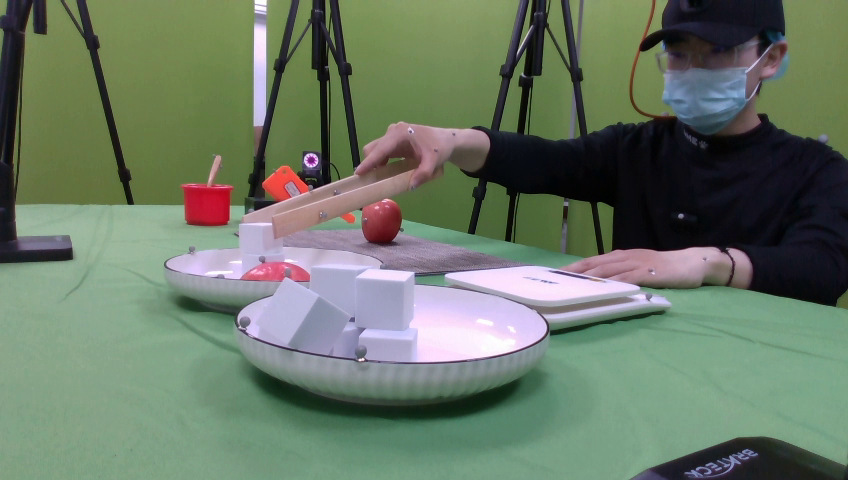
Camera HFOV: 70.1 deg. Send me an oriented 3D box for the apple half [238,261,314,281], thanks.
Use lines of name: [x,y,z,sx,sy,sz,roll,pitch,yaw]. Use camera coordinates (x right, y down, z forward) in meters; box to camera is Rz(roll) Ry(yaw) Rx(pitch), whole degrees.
apple half: [-0.141,0.036,0.578,0.081,0.033,0.081,2,11,0]

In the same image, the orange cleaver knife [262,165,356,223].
orange cleaver knife: [-0.243,-0.081,1.292,0.212,0.077,0.012,34,-8,-26]

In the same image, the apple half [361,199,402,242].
apple half: [-0.066,-0.033,1.014,0.053,0.074,0.081,10,6,20]

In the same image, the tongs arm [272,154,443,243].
tongs arm: [-0.062,-0.063,0.774,0.028,0.028,0.389,5,19,29]

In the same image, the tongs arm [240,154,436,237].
tongs arm: [-0.086,-0.068,0.787,0.050,0.026,0.386,8,20,25]

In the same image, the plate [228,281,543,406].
plate: [-0.025,0.067,0.413,0.208,0.039,0.207,3,7,0]

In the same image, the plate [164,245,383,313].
plate: [-0.145,0.038,0.600,0.209,0.038,0.209,2,8,0]

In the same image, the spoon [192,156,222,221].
spoon: [-0.430,-0.108,1.222,0.041,0.021,0.193,-1,52,0]

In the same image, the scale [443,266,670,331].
scale: [0.131,0.052,0.603,0.202,0.031,0.148,-2,9,-37]
